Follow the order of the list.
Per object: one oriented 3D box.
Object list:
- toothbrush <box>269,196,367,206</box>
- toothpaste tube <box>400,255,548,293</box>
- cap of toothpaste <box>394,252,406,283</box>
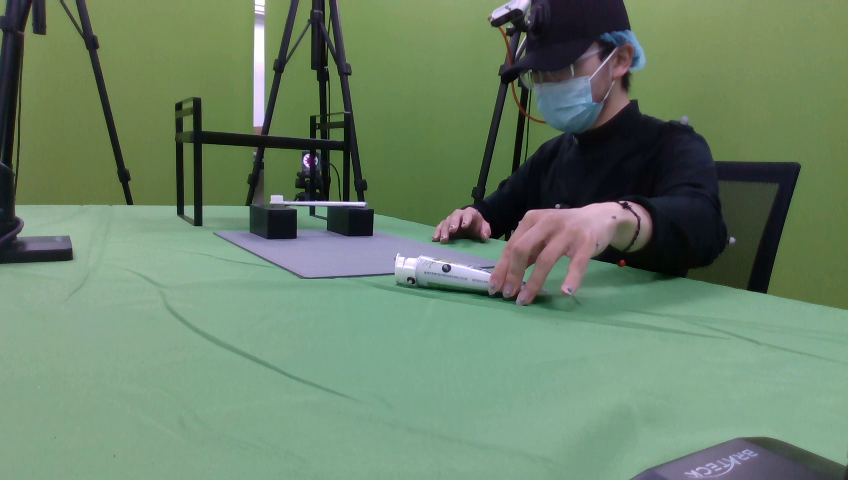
[{"bbox_3d":[-0.187,-0.069,1.088,0.183,0.016,0.014,0,-4,-28],"label":"toothbrush"},{"bbox_3d":[0.051,0.042,0.661,0.165,0.034,0.055,7,7,15],"label":"toothpaste tube"},{"bbox_3d":[-0.027,0.031,0.684,0.011,0.037,0.037,2,8,5],"label":"cap of toothpaste"}]
